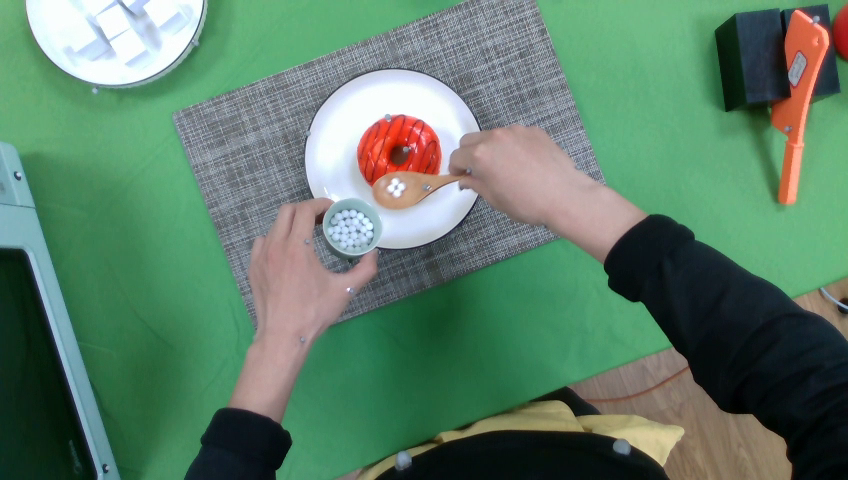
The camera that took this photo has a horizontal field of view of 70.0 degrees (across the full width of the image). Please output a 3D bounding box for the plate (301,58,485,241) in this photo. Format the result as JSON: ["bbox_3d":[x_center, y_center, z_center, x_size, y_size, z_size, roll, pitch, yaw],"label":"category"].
[{"bbox_3d":[-0.035,-0.102,0.698,0.209,0.038,0.209,0,91,0],"label":"plate"}]

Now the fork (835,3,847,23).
[{"bbox_3d":[0.562,-0.255,0.646,0.206,0.019,0.028,8,88,42],"label":"fork"}]

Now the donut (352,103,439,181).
[{"bbox_3d":[-0.032,-0.106,0.687,0.099,0.048,0.099,0,93,1],"label":"donut"}]

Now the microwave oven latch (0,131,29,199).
[{"bbox_3d":[-0.478,-0.084,0.684,0.030,0.029,0.079,-17,91,0],"label":"microwave oven latch"}]

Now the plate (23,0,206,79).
[{"bbox_3d":[-0.352,-0.287,0.702,0.208,0.039,0.207,0,90,0],"label":"plate"}]

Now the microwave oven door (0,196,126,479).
[{"bbox_3d":[-0.413,0.124,0.583,0.039,0.244,0.355,-19,90,0],"label":"microwave oven door"}]

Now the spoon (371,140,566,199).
[{"bbox_3d":[0.039,-0.072,0.585,0.193,0.022,0.041,-9,75,21],"label":"spoon"}]

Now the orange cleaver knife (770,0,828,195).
[{"bbox_3d":[0.409,-0.155,0.679,0.012,0.076,0.213,-6,119,3],"label":"orange cleaver knife"}]

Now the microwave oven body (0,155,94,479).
[{"bbox_3d":[-0.565,0.128,0.589,0.326,0.260,0.441,-18,91,0],"label":"microwave oven body"}]

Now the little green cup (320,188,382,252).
[{"bbox_3d":[-0.077,-0.018,0.617,0.062,0.039,0.061,6,69,-15],"label":"little green cup"}]
